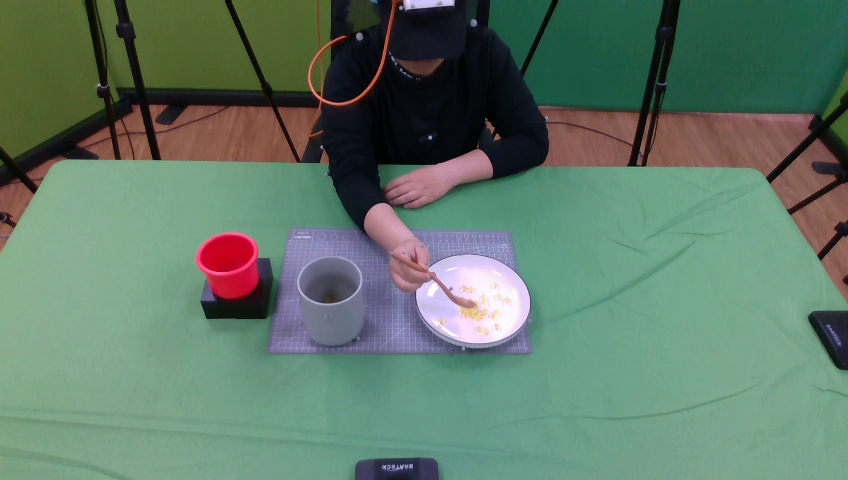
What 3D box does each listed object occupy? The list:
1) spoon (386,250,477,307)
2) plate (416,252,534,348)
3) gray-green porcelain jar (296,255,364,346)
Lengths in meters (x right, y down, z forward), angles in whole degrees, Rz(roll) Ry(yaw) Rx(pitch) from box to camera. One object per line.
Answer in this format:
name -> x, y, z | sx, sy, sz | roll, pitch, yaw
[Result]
spoon -> 0.014, 0.064, 0.997 | 0.021, 0.195, 0.041 | -52, 27, 2
plate -> 0.090, 0.109, 1.084 | 0.208, 0.039, 0.206 | 2, 46, -2
gray-green porcelain jar -> -0.153, 0.106, 1.008 | 0.106, 0.127, 0.105 | 2, 46, -2
